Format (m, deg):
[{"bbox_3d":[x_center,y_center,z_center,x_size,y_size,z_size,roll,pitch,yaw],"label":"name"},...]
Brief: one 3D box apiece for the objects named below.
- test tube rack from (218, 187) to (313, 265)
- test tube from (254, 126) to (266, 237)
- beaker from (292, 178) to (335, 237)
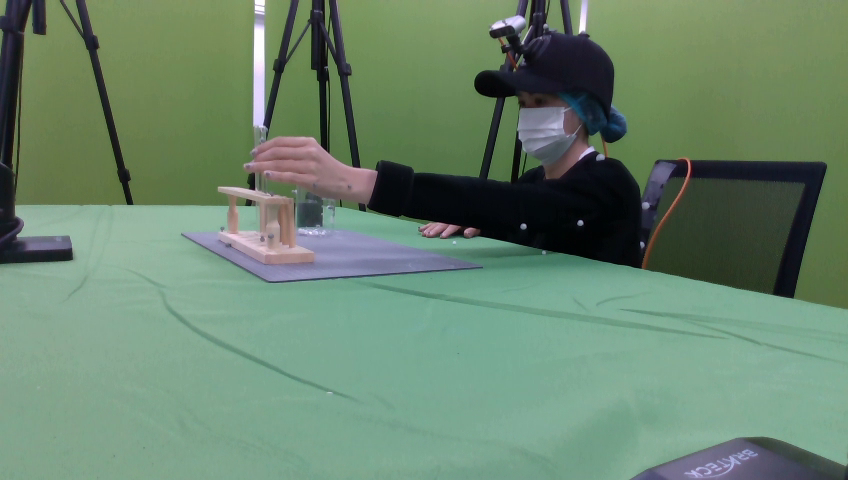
[{"bbox_3d":[-0.235,-0.027,0.872,0.067,0.085,0.241,-2,8,-32],"label":"test tube rack"},{"bbox_3d":[-0.223,-0.079,0.821,0.017,0.150,0.017,1,6,0],"label":"test tube"},{"bbox_3d":[-0.195,-0.058,1.080,0.074,0.100,0.083,-4,11,-40],"label":"beaker"}]
